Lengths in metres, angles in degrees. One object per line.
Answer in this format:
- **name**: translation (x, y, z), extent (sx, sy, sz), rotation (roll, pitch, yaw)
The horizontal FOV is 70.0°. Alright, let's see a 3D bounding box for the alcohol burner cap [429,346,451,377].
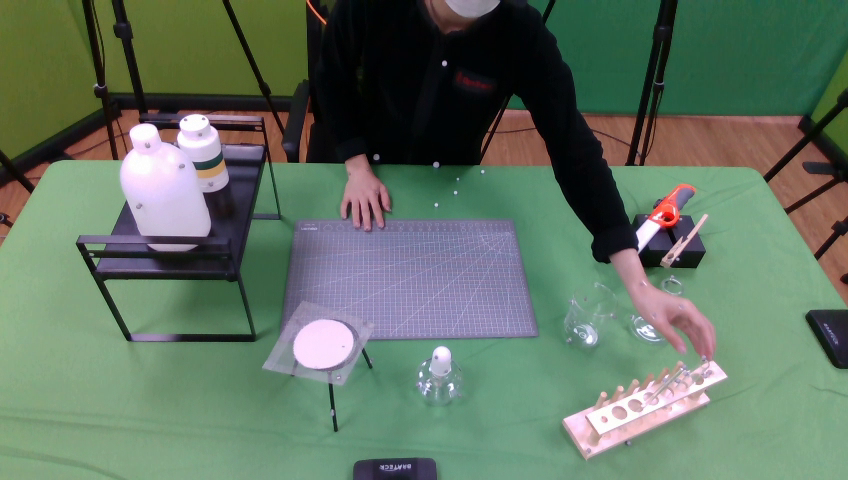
- **alcohol burner cap**: translation (0.026, 0.180, 0.912), extent (0.034, 0.048, 0.033), rotation (2, 47, -1)

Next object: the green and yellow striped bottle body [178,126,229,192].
- **green and yellow striped bottle body**: translation (-0.361, -0.142, 0.989), extent (0.063, 0.120, 0.063), rotation (2, 46, -2)

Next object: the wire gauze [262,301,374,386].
- **wire gauze**: translation (-0.150, 0.148, 0.873), extent (0.121, 0.011, 0.124), rotation (14, 46, 12)

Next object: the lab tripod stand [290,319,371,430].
- **lab tripod stand**: translation (-0.146, 0.194, 0.923), extent (0.148, 0.132, 0.147), rotation (1, 47, -1)

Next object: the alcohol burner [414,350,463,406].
- **alcohol burner**: translation (0.023, 0.205, 0.939), extent (0.078, 0.120, 0.077), rotation (1, 47, -1)

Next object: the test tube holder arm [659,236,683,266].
- **test tube holder arm**: translation (0.472, 0.020, 1.149), extent (0.010, 0.015, 0.088), rotation (35, 54, 27)

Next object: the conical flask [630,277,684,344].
- **conical flask**: translation (0.408, 0.118, 1.045), extent (0.075, 0.122, 0.075), rotation (2, 46, -2)

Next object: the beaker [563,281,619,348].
- **beaker**: translation (0.283, 0.129, 1.041), extent (0.074, 0.101, 0.083), rotation (11, 46, 7)

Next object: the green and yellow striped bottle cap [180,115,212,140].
- **green and yellow striped bottle cap**: translation (-0.358, -0.177, 0.951), extent (0.045, 0.020, 0.045), rotation (2, 44, -1)

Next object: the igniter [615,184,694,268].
- **igniter**: translation (0.459, -0.035, 1.196), extent (0.057, 0.025, 0.276), rotation (32, 55, 27)

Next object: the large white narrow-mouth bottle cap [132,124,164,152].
- **large white narrow-mouth bottle cap**: translation (-0.370, -0.137, 0.812), extent (0.038, 0.024, 0.037), rotation (3, 46, -3)

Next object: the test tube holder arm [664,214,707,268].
- **test tube holder arm**: translation (0.507, -0.001, 1.171), extent (0.013, 0.015, 0.178), rotation (33, 53, 26)

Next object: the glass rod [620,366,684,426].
- **glass rod**: translation (0.322, 0.227, 0.866), extent (0.008, 0.200, 0.008), rotation (6, 51, -7)

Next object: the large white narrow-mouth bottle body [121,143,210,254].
- **large white narrow-mouth bottle body**: translation (-0.377, -0.077, 0.875), extent (0.102, 0.195, 0.101), rotation (3, 46, -3)

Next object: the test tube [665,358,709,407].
- **test tube**: translation (0.388, 0.216, 0.905), extent (0.017, 0.151, 0.017), rotation (2, 53, -2)

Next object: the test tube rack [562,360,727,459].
- **test tube rack**: translation (0.341, 0.248, 0.940), extent (0.243, 0.085, 0.066), rotation (-16, 49, -18)
